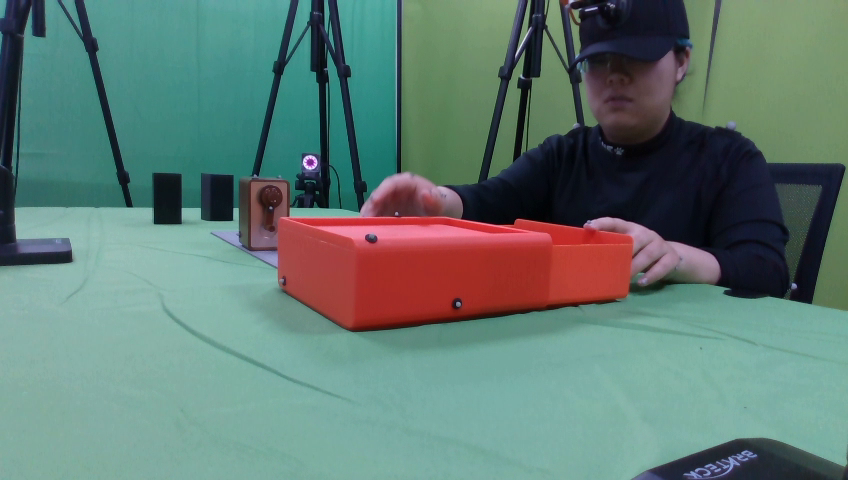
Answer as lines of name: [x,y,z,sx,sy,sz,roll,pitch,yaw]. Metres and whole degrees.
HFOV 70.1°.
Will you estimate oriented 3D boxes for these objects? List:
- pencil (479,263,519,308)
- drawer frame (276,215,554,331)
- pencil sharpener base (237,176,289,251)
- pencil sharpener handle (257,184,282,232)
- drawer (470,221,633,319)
pencil: [0.083,0.049,0.675,0.012,0.012,0.193,2,9,-5]
drawer frame: [-0.015,0.022,0.610,0.215,0.082,0.200,-3,9,-32]
pencil sharpener base: [-0.243,-0.040,0.911,0.061,0.107,0.076,-1,8,-28]
pencil sharpener handle: [-0.220,-0.046,0.865,0.036,0.067,0.030,7,4,-29]
drawer: [0.086,0.025,0.672,0.213,0.073,0.193,-4,10,-33]
